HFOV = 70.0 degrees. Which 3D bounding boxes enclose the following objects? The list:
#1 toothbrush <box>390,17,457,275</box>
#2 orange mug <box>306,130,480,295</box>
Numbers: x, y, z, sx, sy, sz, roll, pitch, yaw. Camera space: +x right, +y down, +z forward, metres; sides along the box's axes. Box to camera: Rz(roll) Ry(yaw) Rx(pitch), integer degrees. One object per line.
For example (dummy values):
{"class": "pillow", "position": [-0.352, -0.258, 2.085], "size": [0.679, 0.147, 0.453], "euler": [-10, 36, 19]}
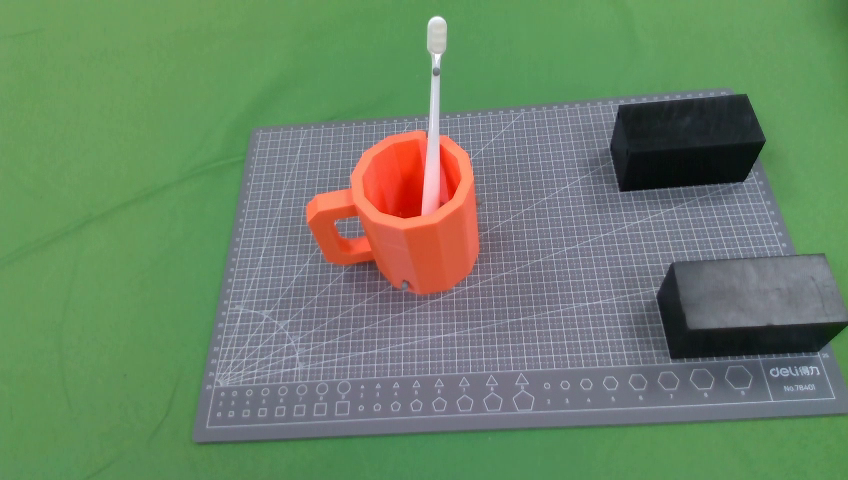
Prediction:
{"class": "toothbrush", "position": [-0.002, -0.059, 0.421], "size": [0.016, 0.182, 0.014], "euler": [24, 21, 35]}
{"class": "orange mug", "position": [-0.021, -0.016, 0.454], "size": [0.126, 0.101, 0.082], "euler": [-9, 58, -3]}
